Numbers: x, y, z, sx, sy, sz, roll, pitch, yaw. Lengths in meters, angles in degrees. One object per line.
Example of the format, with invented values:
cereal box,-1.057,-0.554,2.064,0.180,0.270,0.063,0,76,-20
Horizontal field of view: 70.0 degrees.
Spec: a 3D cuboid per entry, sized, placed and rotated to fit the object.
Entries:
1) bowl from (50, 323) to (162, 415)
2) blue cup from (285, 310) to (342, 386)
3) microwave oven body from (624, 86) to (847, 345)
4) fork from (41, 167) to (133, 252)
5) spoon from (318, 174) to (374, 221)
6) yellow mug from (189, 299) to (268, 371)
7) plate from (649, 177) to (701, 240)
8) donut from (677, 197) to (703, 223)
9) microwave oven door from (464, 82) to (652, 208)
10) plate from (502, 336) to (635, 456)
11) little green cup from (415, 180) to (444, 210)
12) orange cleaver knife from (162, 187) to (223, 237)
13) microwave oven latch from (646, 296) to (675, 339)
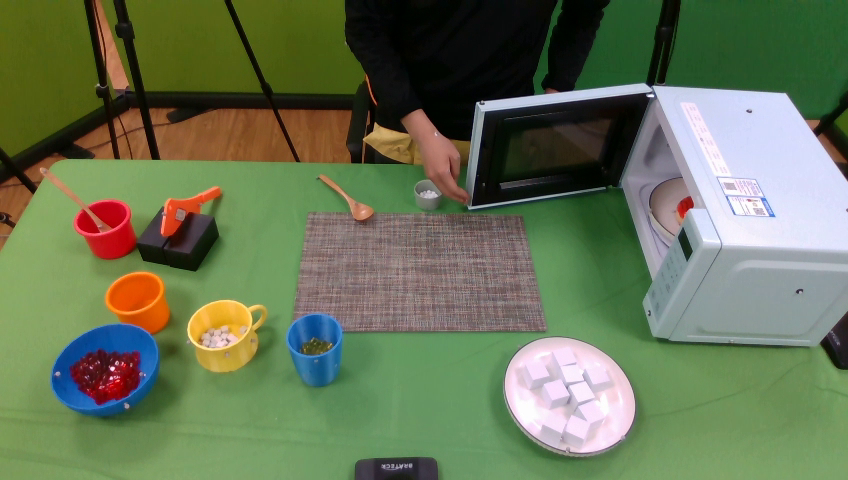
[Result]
bowl,-0.472,0.209,0.924,0.151,0.077,0.150,3,45,-2
blue cup,-0.170,0.179,0.958,0.093,0.101,0.092,2,44,-1
microwave oven body,0.567,-0.053,1.118,0.326,0.261,0.439,2,45,-1
fork,-0.624,-0.056,1.121,0.208,0.018,0.028,49,52,-15
spoon,-0.168,-0.094,1.274,0.041,0.022,0.192,-38,56,-15
yellow mug,-0.316,0.148,1.002,0.131,0.064,0.099,-32,56,-31
plate,0.543,-0.044,1.181,0.209,0.038,0.208,2,46,-2
donut,0.539,-0.046,1.169,0.099,0.048,0.098,5,40,-4
microwave oven door,0.264,-0.189,1.221,0.356,0.245,0.039,-9,48,-13
plate,0.225,0.248,0.963,0.208,0.039,0.206,2,46,-2
little green cup,0.010,-0.094,1.278,0.061,0.039,0.061,3,49,-3
orange cleaver knife,-0.448,-0.058,1.181,0.012,0.077,0.211,13,17,6
microwave oven latch,0.412,0.134,1.061,0.030,0.029,0.078,4,45,1
